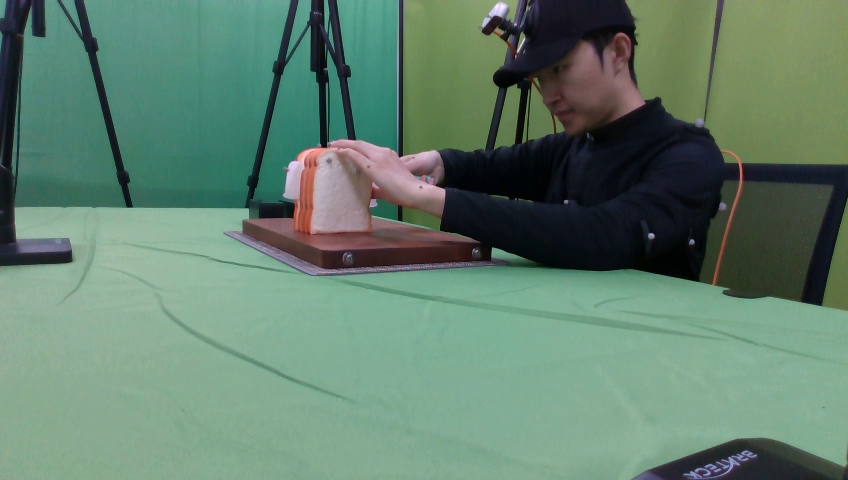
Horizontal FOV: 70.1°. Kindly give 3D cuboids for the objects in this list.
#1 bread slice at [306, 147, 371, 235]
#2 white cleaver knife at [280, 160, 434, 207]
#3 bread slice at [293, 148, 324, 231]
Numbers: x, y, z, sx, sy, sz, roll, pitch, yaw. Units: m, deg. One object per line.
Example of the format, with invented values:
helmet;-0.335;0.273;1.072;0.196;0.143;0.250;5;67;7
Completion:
bread slice;-0.130;-0.075;0.922;0.107;0.134;0.018;-6;10;-36
white cleaver knife;-0.102;-0.088;1.000;0.288;0.066;0.021;1;2;-35
bread slice;-0.161;-0.081;0.966;0.105;0.131;0.019;-3;2;-38
